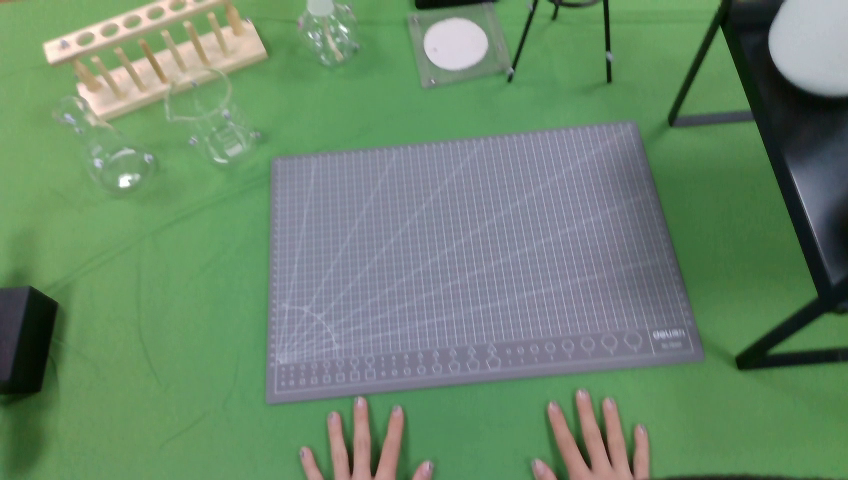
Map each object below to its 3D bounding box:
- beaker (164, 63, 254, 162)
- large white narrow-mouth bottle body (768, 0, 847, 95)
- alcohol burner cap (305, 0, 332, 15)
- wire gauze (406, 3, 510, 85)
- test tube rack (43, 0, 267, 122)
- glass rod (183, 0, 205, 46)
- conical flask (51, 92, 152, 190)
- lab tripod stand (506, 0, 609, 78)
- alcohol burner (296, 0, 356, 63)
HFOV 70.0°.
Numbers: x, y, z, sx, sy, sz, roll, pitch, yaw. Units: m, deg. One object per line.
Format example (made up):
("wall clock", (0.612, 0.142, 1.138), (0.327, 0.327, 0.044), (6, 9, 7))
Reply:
("beaker", (-0.250, -0.144, 0.715), (0.073, 0.101, 0.084), (39, 72, 19))
("large white narrow-mouth bottle body", (0.356, -0.210, 0.467), (0.102, 0.196, 0.101), (-1, 63, 3))
("alcohol burner cap", (-0.129, -0.302, 0.735), (0.034, 0.048, 0.033), (3, 63, -6))
("wire gauze", (0.044, -0.267, 0.809), (0.121, 0.011, 0.124), (-10, 65, -3))
("test tube rack", (-0.336, -0.244, 0.773), (0.242, 0.086, 0.066), (-24, 66, -9))
("glass rod", (-0.294, -0.309, 0.728), (0.008, 0.201, 0.008), (1, 63, -2))
("conical flask", (-0.374, -0.117, 0.694), (0.075, 0.123, 0.074), (-1, 64, 3))
("lab tripod stand", (0.172, -0.268, 0.735), (0.148, 0.132, 0.147), (0, 64, 1))
("alcohol burner", (-0.127, -0.284, 0.767), (0.078, 0.120, 0.077), (-1, 62, 2))
